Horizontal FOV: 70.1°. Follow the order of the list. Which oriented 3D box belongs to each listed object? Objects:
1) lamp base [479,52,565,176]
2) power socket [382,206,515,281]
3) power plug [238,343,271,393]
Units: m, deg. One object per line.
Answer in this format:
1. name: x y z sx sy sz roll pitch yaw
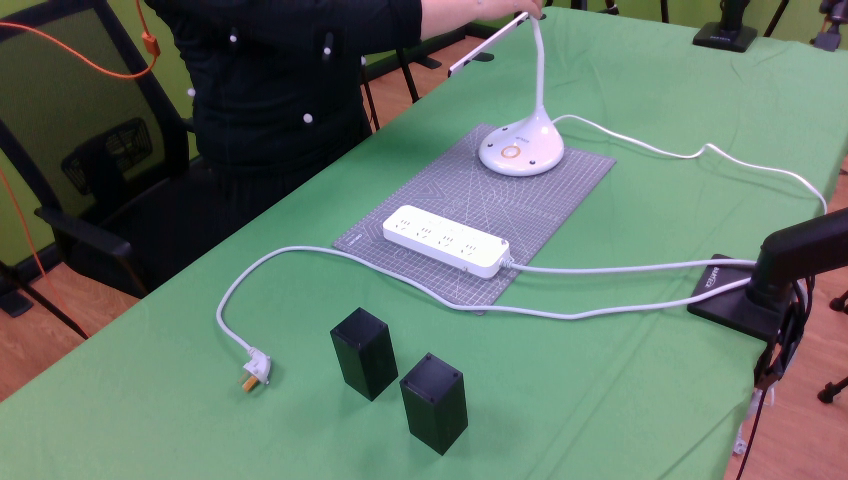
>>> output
1. lamp base: 0.181 -0.235 1.094 0.159 0.181 0.179 18 44 27
2. power socket: 0.032 0.002 0.950 0.225 0.033 0.072 21 49 29
3. power plug: -0.230 0.172 0.800 0.072 0.035 0.053 8 50 49
